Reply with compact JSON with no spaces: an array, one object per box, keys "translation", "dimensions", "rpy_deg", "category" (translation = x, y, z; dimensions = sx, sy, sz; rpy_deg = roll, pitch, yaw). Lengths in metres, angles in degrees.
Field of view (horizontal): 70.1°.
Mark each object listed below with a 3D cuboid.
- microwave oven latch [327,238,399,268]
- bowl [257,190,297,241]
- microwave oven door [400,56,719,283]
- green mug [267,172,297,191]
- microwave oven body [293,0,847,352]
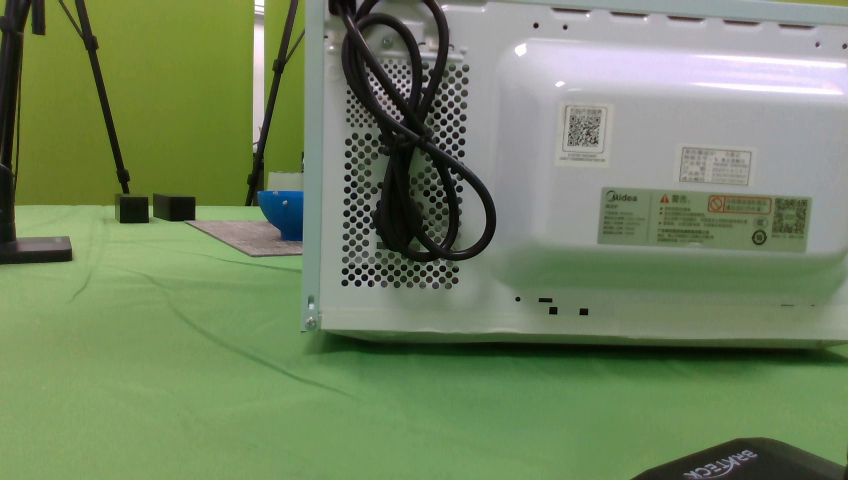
[{"translation":[-0.069,0.015,0.694],"dimensions":[0.079,0.029,0.030],"rpy_deg":[3,7,-3],"category":"microwave oven latch"},{"translation":[-0.207,-0.041,1.027],"dimensions":[0.151,0.077,0.151],"rpy_deg":[3,8,0],"category":"bowl"},{"translation":[0.155,-0.077,0.697],"dimensions":[0.356,0.243,0.039],"rpy_deg":[2,8,-5],"category":"microwave oven door"},{"translation":[-0.277,-0.090,1.276],"dimensions":[0.092,0.105,0.126],"rpy_deg":[6,8,25],"category":"green mug"},{"translation":[0.122,-0.055,0.550],"dimensions":[0.442,0.260,0.325],"rpy_deg":[3,7,-5],"category":"microwave oven body"}]
